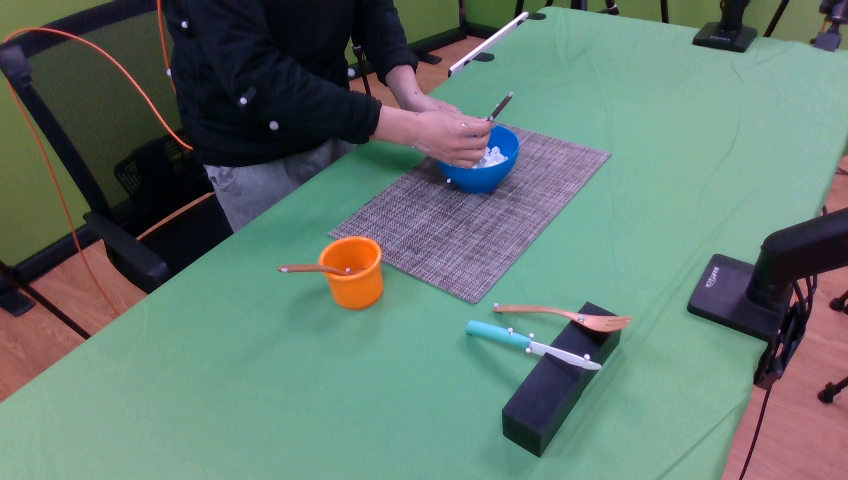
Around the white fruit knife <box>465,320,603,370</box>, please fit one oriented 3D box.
[{"bbox_3d":[0.128,0.129,0.749,0.205,0.027,0.016,10,44,43],"label":"white fruit knife"}]

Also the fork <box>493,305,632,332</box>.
[{"bbox_3d":[0.171,0.097,0.783,0.205,0.019,0.028,4,40,43],"label":"fork"}]

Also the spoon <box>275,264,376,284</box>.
[{"bbox_3d":[-0.133,0.044,0.839,0.041,0.195,0.021,25,95,33],"label":"spoon"}]

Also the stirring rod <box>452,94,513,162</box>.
[{"bbox_3d":[0.094,-0.182,1.005,0.014,0.175,0.006,-25,76,-41],"label":"stirring rod"}]

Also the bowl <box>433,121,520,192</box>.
[{"bbox_3d":[0.094,-0.137,1.064,0.151,0.077,0.150,-4,41,4],"label":"bowl"}]
